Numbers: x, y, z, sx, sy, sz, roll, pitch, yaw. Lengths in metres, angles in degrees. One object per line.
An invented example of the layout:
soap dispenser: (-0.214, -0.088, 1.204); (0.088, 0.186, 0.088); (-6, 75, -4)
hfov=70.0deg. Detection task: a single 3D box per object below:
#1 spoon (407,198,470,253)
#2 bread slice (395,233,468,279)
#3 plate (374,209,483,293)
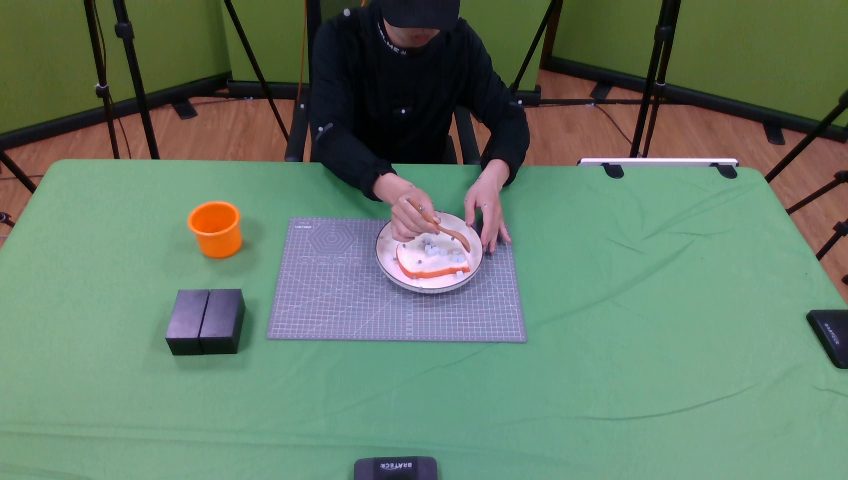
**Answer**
spoon: (0.028, -0.025, 1.090); (0.021, 0.195, 0.041); (-46, 45, 12)
bread slice: (0.011, 0.030, 1.159); (0.132, 0.019, 0.104); (-8, 47, -14)
plate: (0.009, 0.024, 1.160); (0.209, 0.038, 0.208); (2, 46, -2)
